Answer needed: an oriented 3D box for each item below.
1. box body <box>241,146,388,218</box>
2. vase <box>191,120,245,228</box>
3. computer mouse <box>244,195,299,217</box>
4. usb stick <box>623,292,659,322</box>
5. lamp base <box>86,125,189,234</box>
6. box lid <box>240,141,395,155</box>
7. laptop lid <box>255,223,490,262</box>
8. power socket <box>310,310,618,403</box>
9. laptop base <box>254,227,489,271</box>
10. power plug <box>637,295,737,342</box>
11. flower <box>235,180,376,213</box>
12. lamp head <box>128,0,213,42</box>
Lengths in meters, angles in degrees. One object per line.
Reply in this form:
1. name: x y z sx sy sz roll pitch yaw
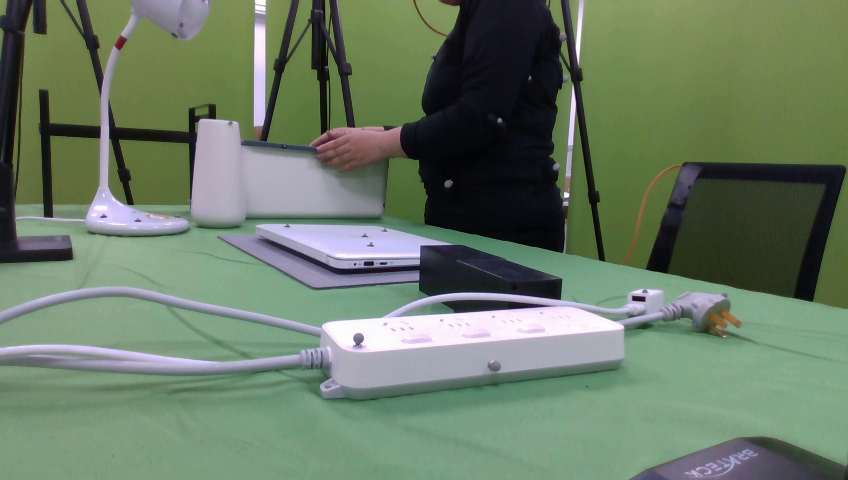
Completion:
1. box body: -0.297 -0.143 1.474 0.366 0.160 0.253 -1 9 -30
2. vase: -0.389 -0.124 1.142 0.098 0.200 0.098 3 9 0
3. computer mouse: -0.346 -0.077 1.372 0.118 0.041 0.062 -11 18 -33
4. usb stick: 0.211 0.064 0.581 0.021 0.027 0.059 -2 -3 36
5. lamp base: -0.497 -0.105 1.027 0.179 0.180 0.160 1 7 3
6. box lid: -0.284 -0.219 1.457 0.373 0.015 0.262 -1 8 -29
7. laptop lid: -0.093 0.000 0.911 0.243 0.013 0.355 1 7 -30
8. power socket: 0.033 0.074 0.415 0.228 0.032 0.072 -1 7 -24
9. laptop base: -0.096 0.012 0.911 0.237 0.023 0.352 2 6 -32
10. power plug: 0.235 0.078 0.536 0.072 0.035 0.052 -35 41 -4
11. flower: -0.264 -0.092 1.416 0.364 0.038 0.044 8 -41 -38
12. lamp head: -0.423 -0.394 0.980 0.123 0.112 0.112 20 7 -3
